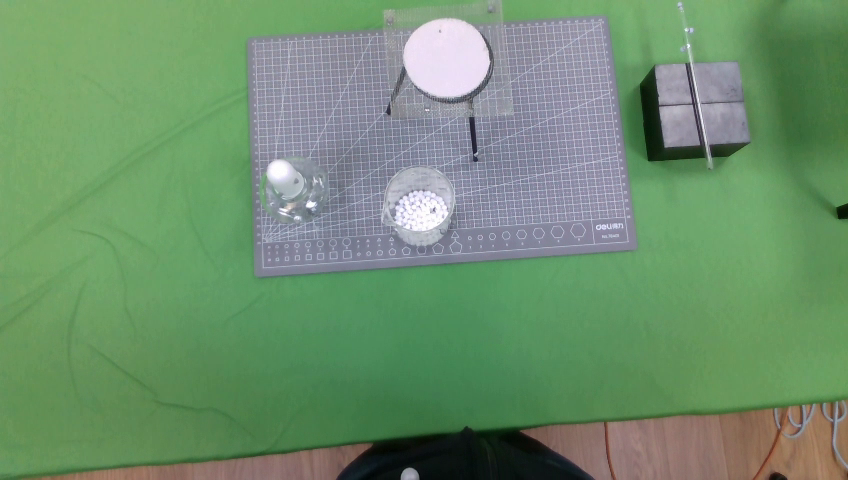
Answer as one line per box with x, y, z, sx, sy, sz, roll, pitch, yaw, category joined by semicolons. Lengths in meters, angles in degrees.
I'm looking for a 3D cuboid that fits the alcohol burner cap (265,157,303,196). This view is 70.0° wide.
-0.147;-0.068;0.628;0.034;0.048;0.033;-1;75;3;alcohol burner cap

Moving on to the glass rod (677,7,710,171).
0.311;-0.176;0.699;0.008;0.008;0.199;-6;82;-2;glass rod

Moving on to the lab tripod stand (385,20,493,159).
0.026;-0.174;0.675;0.148;0.132;0.147;0;78;0;lab tripod stand

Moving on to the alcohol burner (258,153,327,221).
-0.147;-0.062;0.664;0.078;0.119;0.077;0;82;-2;alcohol burner

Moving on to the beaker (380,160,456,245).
-0.008;-0.034;0.669;0.084;0.100;0.073;-31;82;-5;beaker

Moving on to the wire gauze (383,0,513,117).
0.023;-0.182;0.609;0.125;0.011;0.121;-3;81;-1;wire gauze
